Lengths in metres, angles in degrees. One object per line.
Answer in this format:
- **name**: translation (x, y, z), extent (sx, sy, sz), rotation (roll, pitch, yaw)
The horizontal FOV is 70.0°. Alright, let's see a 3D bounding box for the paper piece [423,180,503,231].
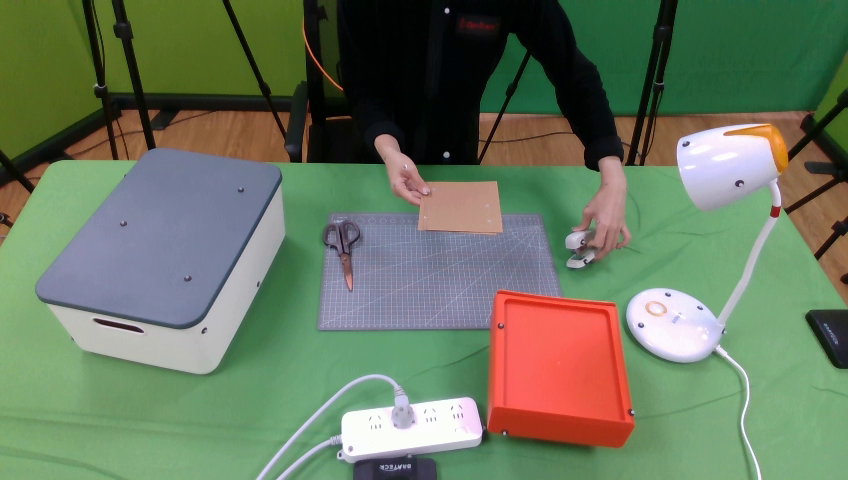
- **paper piece**: translation (0.067, -0.063, 1.070), extent (0.136, 0.009, 0.137), rotation (4, 43, -3)

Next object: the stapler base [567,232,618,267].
- **stapler base**: translation (0.331, 0.012, 1.198), extent (0.130, 0.024, 0.041), rotation (-32, 26, -31)

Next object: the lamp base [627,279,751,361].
- **lamp base**: translation (0.460, 0.100, 1.027), extent (0.178, 0.181, 0.160), rotation (27, 51, 17)

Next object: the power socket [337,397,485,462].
- **power socket**: translation (-0.018, 0.285, 0.915), extent (0.227, 0.033, 0.071), rotation (-4, 46, -8)

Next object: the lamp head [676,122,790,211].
- **lamp head**: translation (0.423, -0.104, 0.819), extent (0.122, 0.113, 0.112), rotation (-13, 33, 40)

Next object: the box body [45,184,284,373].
- **box body**: translation (-0.414, 0.029, 1.039), extent (0.254, 0.161, 0.362), rotation (10, 46, 5)

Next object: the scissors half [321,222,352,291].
- **scissors half**: translation (-0.163, 0.031, 1.160), extent (0.040, 0.013, 0.174), rotation (-17, 51, -14)

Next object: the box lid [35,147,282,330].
- **box lid**: translation (-0.411, -0.023, 0.987), extent (0.263, 0.015, 0.369), rotation (10, 47, 5)

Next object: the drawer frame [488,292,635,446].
- **drawer frame**: translation (0.204, 0.191, 0.931), extent (0.202, 0.083, 0.212), rotation (7, 45, 2)

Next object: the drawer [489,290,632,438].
- **drawer**: translation (0.203, 0.185, 0.934), extent (0.194, 0.073, 0.210), rotation (7, 47, 1)

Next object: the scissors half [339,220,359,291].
- **scissors half**: translation (-0.144, 0.026, 1.162), extent (0.040, 0.013, 0.174), rotation (-7, 51, 1)

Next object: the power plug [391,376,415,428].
- **power plug**: translation (-0.030, 0.249, 0.917), extent (0.035, 0.053, 0.072), rotation (3, 46, 0)

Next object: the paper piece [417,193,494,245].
- **paper piece**: translation (0.060, -0.050, 1.074), extent (0.135, 0.004, 0.135), rotation (13, 45, -1)

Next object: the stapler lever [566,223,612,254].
- **stapler lever**: translation (0.323, -0.011, 1.190), extent (0.118, 0.040, 0.026), rotation (-31, 26, -32)
